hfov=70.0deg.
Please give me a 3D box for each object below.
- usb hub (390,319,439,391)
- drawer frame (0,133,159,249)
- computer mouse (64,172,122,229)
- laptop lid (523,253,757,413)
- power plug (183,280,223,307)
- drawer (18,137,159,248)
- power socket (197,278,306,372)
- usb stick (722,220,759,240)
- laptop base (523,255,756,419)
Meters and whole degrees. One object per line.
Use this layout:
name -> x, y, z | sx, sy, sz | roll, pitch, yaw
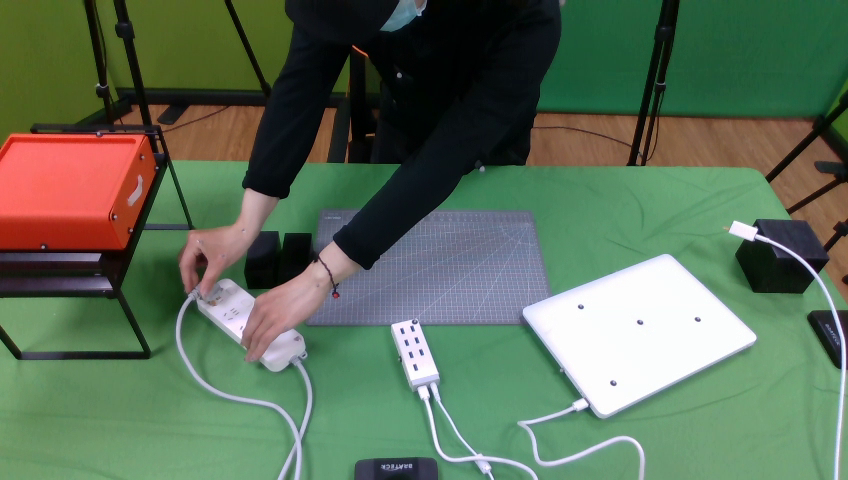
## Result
usb hub -> -0.016, 0.190, 1.013 | 0.049, 0.025, 0.124 | -10, 48, -15
drawer frame -> -0.553, -0.078, 0.942 | 0.214, 0.083, 0.200 | -1, 47, -4
computer mouse -> -0.521, -0.066, 0.955 | 0.063, 0.041, 0.116 | 0, 48, -9
laptop lid -> 0.380, 0.147, 1.073 | 0.357, 0.013, 0.240 | -17, 48, -19
power plug -> -0.374, 0.096, 1.021 | 0.035, 0.053, 0.072 | 32, 57, 32
drawer -> -0.549, -0.078, 0.944 | 0.212, 0.073, 0.193 | 0, 47, -3
power socket -> -0.297, 0.141, 1.034 | 0.226, 0.033, 0.072 | 33, 53, 24
usb stick -> 0.593, -0.021, 1.139 | 0.059, 0.027, 0.021 | 22, 12, 28
laptop base -> 0.381, 0.157, 1.080 | 0.355, 0.023, 0.234 | -18, 48, -20
